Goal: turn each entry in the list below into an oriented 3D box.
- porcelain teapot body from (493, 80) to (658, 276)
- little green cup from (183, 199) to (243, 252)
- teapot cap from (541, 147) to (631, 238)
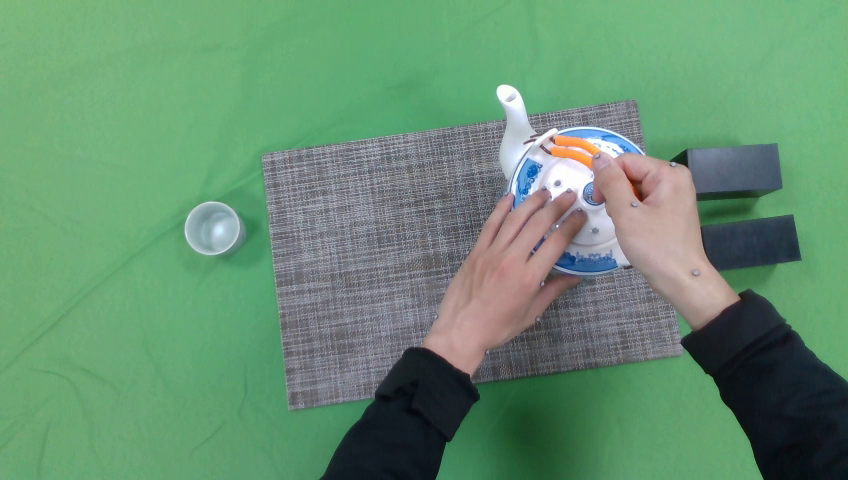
[{"bbox_3d":[0.129,-0.062,0.593,0.145,0.225,0.205,-41,86,-3],"label":"porcelain teapot body"},{"bbox_3d":[-0.240,-0.014,0.699,0.061,0.039,0.061,0,83,2],"label":"little green cup"},{"bbox_3d":[0.149,-0.045,0.552,0.085,0.044,0.085,0,81,1],"label":"teapot cap"}]
